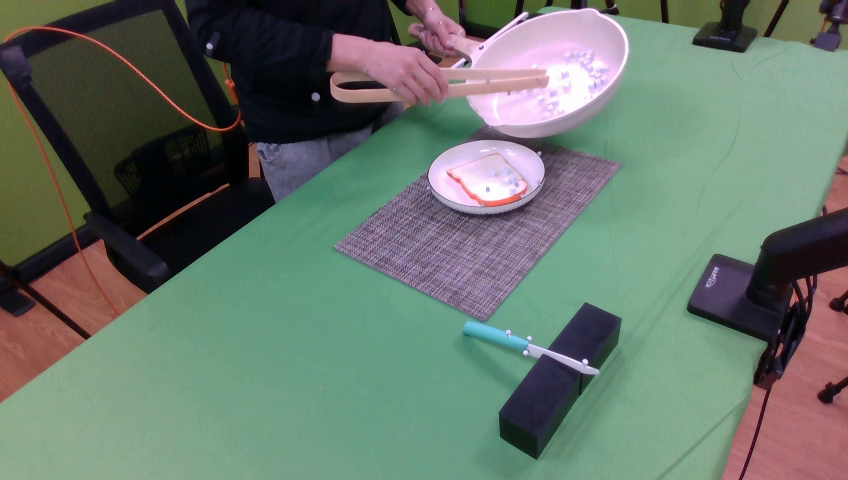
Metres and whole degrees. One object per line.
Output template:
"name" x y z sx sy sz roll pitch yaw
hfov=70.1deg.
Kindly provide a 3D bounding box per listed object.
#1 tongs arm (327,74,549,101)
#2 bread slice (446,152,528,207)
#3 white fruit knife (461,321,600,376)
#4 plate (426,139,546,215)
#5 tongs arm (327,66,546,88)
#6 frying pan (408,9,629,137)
"tongs arm" 0.030 -0.272 1.043 0.386 0.026 0.050 -9 56 -13
"bread slice" 0.117 -0.104 1.057 0.107 0.018 0.133 -24 42 -18
"white fruit knife" 0.125 0.133 0.751 0.205 0.027 0.016 12 43 41
"plate" 0.109 -0.106 1.058 0.207 0.039 0.206 -4 40 4
"tongs arm" 0.027 -0.286 1.053 0.389 0.028 0.028 -4 58 -10
"frying pan" 0.148 -0.342 1.148 0.484 0.103 0.307 33 73 31
